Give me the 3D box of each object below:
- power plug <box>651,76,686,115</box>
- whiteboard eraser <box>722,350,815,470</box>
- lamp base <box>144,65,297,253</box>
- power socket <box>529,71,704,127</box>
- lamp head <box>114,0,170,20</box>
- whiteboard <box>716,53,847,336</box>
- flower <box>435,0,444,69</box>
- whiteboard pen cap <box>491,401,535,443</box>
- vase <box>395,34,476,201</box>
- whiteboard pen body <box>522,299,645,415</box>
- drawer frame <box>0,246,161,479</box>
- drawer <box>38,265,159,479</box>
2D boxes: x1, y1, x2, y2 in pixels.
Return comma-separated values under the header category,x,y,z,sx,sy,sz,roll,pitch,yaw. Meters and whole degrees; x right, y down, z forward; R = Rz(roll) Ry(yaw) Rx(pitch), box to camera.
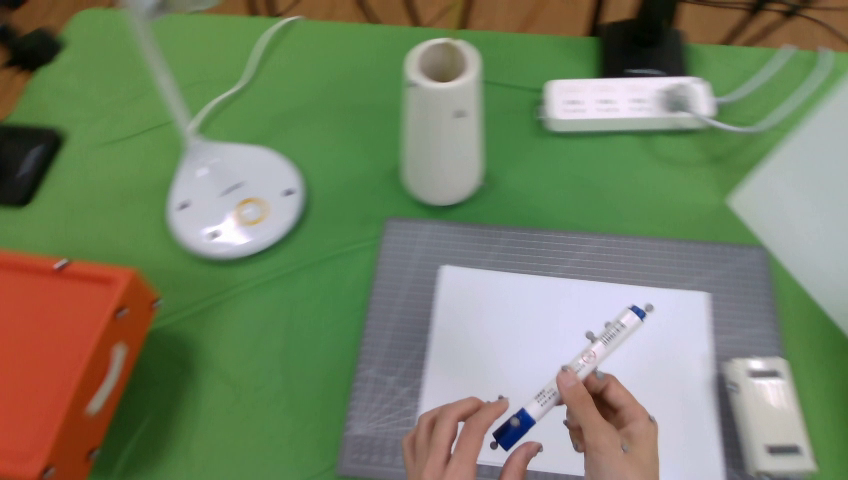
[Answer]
category,x,y,z,sx,sy,sz,roll,pitch,yaw
power plug,0.305,-0.175,0.765,0.035,0.053,0.072,8,62,7
whiteboard eraser,0.332,0.164,0.591,0.055,0.042,0.111,0,60,0
lamp base,-0.249,-0.099,0.682,0.178,0.182,0.160,34,67,23
power socket,0.255,-0.187,0.801,0.227,0.033,0.071,-1,61,1
lamp head,-0.211,-0.236,0.425,0.124,0.112,0.112,44,65,-18
whiteboard,0.504,-0.081,0.611,0.144,0.307,0.215,-15,58,-28
flower,0.015,-0.187,0.618,0.038,0.365,0.043,-6,42,-9
whiteboard pen cap,0.067,0.135,0.454,0.033,0.018,0.018,-41,65,0
vase,0.010,-0.131,0.681,0.098,0.202,0.097,-1,60,3
whiteboard pen body,0.111,0.096,0.454,0.141,0.017,0.017,-43,66,-1
drawer frame,-0.399,0.111,0.576,0.213,0.083,0.200,8,62,4
drawer,-0.393,0.109,0.574,0.211,0.074,0.193,7,62,6
